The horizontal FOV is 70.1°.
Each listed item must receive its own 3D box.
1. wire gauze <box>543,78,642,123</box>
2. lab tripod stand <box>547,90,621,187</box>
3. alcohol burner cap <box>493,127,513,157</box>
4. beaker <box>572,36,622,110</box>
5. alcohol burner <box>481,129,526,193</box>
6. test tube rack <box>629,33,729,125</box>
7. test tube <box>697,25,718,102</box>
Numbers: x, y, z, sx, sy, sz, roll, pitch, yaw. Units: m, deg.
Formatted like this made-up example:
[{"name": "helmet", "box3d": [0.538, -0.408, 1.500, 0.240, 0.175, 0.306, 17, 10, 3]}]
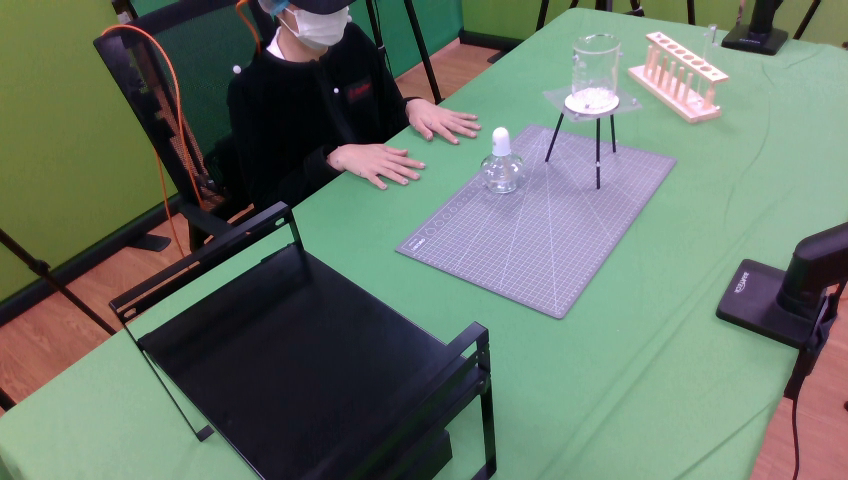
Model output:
[{"name": "wire gauze", "box3d": [0.282, -0.234, 1.022, 0.125, 0.011, 0.120, -17, 38, -4]}, {"name": "lab tripod stand", "box3d": [0.289, -0.184, 1.063, 0.148, 0.132, 0.147, -6, 41, 6]}, {"name": "alcohol burner cap", "box3d": [0.132, -0.169, 1.030, 0.034, 0.048, 0.033, -6, 36, 5]}, {"name": "beaker", "box3d": [0.279, -0.273, 0.992, 0.074, 0.101, 0.083, -14, 40, -5]}, {"name": "alcohol burner", "box3d": [0.138, -0.142, 1.052, 0.078, 0.119, 0.077, -5, 42, 5]}, {"name": "test tube rack", "box3d": [0.516, -0.337, 1.248, 0.067, 0.085, 0.240, -14, 41, -7]}, {"name": "test tube", "box3d": [0.546, -0.337, 1.166, 0.017, 0.151, 0.017, -5, 36, 4]}]
